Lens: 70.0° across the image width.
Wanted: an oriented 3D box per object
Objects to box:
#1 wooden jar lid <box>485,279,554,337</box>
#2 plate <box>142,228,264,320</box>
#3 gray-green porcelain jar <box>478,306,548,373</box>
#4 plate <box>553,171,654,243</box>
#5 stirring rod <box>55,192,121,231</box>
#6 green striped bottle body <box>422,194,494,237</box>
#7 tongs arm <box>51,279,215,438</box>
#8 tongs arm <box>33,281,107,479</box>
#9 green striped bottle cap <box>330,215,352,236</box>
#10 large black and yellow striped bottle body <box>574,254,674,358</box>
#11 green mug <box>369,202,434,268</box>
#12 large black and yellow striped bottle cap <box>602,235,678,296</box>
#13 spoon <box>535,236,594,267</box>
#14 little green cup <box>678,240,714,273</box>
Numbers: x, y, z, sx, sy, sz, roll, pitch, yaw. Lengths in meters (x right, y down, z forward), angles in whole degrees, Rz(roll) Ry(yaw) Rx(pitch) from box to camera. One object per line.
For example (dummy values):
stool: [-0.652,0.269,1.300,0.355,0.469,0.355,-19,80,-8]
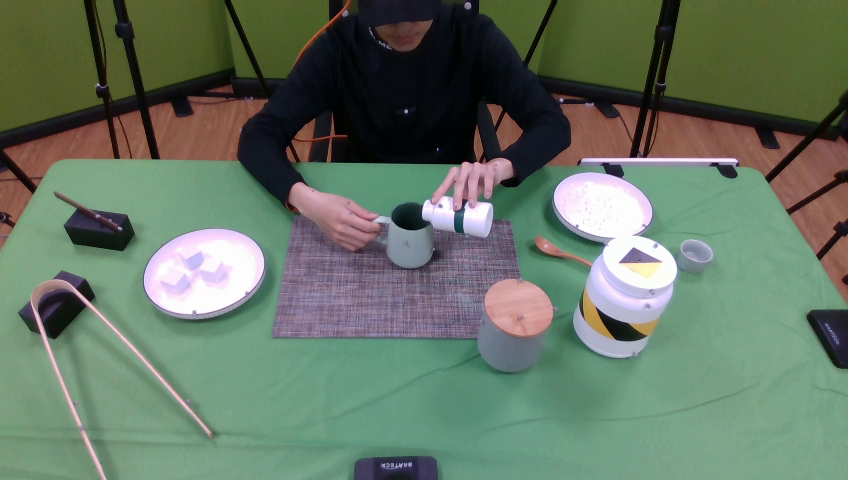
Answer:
wooden jar lid: [0.147,0.108,0.940,0.108,0.021,0.107,4,47,-4]
plate: [-0.394,0.064,1.095,0.208,0.039,0.206,2,46,-2]
gray-green porcelain jar: [0.144,0.148,0.989,0.106,0.127,0.105,2,50,-2]
plate: [0.373,-0.066,1.275,0.209,0.038,0.208,2,46,-2]
stirring rod: [-0.632,-0.055,1.138,0.175,0.014,0.006,24,50,19]
green striped bottle body: [0.059,-0.045,1.072,0.119,0.063,0.063,11,46,17]
tongs arm: [-0.459,0.178,0.950,0.386,0.028,0.028,37,60,17]
tongs arm: [-0.517,0.214,0.910,0.051,0.026,0.383,-28,63,-27]
green striped bottle cap: [-0.167,-0.029,1.214,0.044,0.020,0.044,1,51,-1]
large black and yellow striped bottle body: [0.335,0.096,1.014,0.131,0.185,0.130,2,46,-2]
green mug: [-0.043,-0.010,1.140,0.125,0.105,0.092,7,47,3]
large black and yellow striped bottle cap: [0.340,0.037,0.955,0.115,0.019,0.114,2,47,-1]
spoon: [0.303,0.040,1.178,0.193,0.022,0.041,25,30,19]
little green cup: [0.530,0.033,1.190,0.061,0.039,0.061,2,46,-1]
